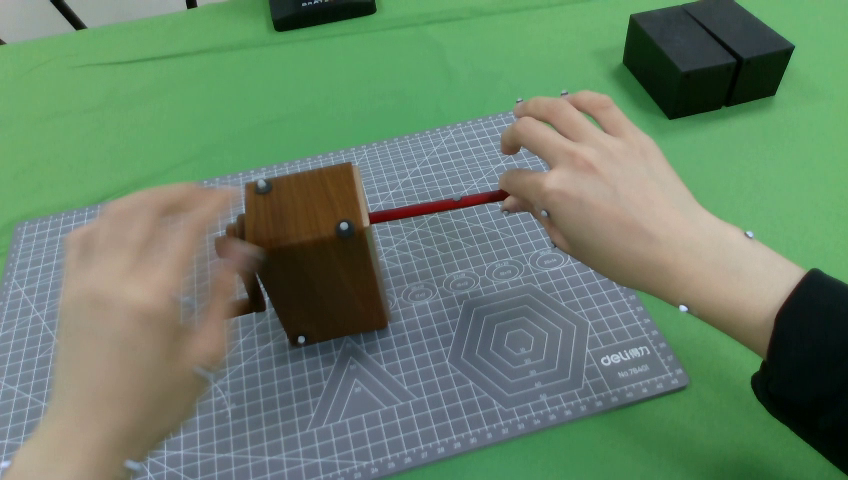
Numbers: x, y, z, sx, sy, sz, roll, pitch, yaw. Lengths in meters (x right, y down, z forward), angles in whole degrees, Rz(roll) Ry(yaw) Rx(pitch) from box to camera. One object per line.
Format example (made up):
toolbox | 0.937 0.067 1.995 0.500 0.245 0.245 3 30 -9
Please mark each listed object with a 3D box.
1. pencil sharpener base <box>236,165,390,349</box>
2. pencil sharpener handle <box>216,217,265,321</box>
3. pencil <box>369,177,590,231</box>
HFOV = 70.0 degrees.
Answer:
pencil sharpener base | -0.069 0.015 0.391 0.077 0.108 0.060 -12 49 -4
pencil sharpener handle | -0.119 0.020 0.374 0.031 0.068 0.035 -12 29 -4
pencil | 0.011 -0.018 0.379 0.194 0.012 0.012 -11 48 -5
